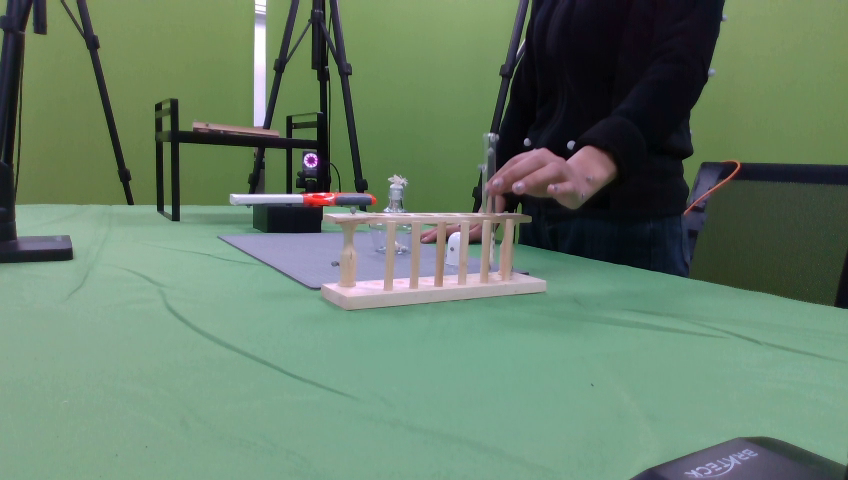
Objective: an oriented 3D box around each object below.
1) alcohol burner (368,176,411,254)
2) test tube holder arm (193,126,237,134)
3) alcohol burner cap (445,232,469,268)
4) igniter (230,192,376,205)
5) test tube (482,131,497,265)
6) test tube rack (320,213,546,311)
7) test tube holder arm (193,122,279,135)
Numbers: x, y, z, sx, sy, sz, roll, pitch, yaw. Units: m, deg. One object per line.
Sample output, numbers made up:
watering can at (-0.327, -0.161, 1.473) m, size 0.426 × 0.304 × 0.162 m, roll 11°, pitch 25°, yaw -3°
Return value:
alcohol burner at (-0.045, -0.038, 0.912) m, size 0.078 × 0.119 × 0.078 m, roll 4°, pitch 8°, yaw 0°
test tube holder arm at (-0.443, -0.235, 1.284) m, size 0.088 × 0.015 × 0.010 m, roll -2°, pitch -21°, yaw -28°
alcohol burner cap at (0.045, 0.013, 0.829) m, size 0.034 × 0.048 × 0.034 m, roll 2°, pitch 8°, yaw 0°
igniter at (-0.226, -0.079, 1.162) m, size 0.278 × 0.025 × 0.057 m, roll -2°, pitch 14°, yaw -28°
test tube at (0.073, -0.046, 0.682) m, size 0.017 × 0.150 × 0.017 m, roll 0°, pitch 8°, yaw 0°
test tube rack at (0.017, 0.017, 0.638) m, size 0.244 × 0.085 × 0.066 m, roll -2°, pitch 8°, yaw -31°
test tube holder arm at (-0.401, -0.238, 1.301) m, size 0.179 × 0.015 × 0.013 m, roll -2°, pitch -21°, yaw -29°
